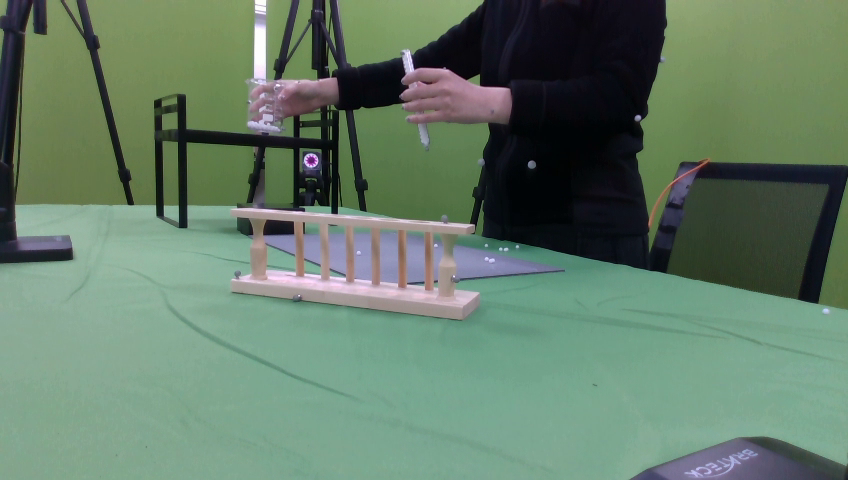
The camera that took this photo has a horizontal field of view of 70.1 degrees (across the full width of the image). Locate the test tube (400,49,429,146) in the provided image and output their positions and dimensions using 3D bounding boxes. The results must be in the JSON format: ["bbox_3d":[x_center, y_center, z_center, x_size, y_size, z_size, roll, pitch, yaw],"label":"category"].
[{"bbox_3d":[-0.013,-0.220,0.937,0.017,0.150,0.017,-13,3,1],"label":"test tube"}]

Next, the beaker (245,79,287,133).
[{"bbox_3d":[-0.320,-0.267,1.210,0.084,0.100,0.073,0,8,-36],"label":"beaker"}]

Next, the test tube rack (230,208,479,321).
[{"bbox_3d":[-0.069,0.017,0.598,0.242,0.085,0.067,5,8,18],"label":"test tube rack"}]
